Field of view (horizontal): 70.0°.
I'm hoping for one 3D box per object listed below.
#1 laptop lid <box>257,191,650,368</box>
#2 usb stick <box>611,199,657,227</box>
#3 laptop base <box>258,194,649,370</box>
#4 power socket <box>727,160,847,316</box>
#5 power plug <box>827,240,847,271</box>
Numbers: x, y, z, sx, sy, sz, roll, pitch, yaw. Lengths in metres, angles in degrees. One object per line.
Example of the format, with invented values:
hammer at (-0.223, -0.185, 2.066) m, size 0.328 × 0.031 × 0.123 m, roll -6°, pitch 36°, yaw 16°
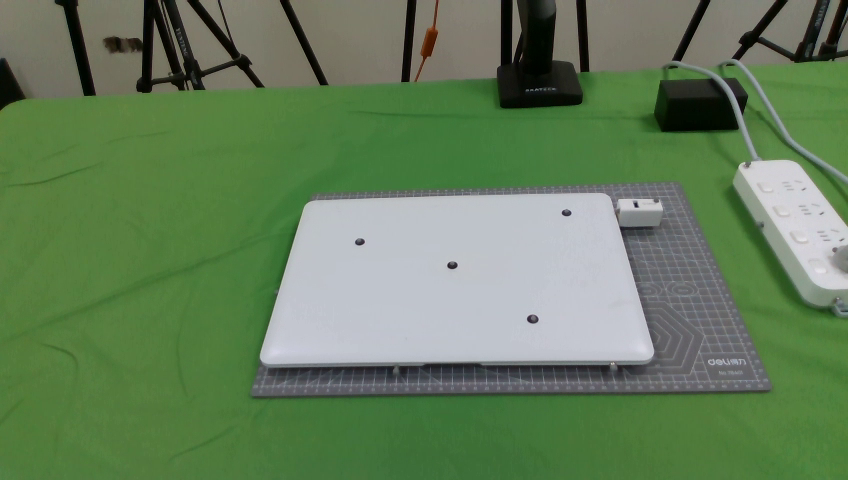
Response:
laptop lid at (0.026, 0.029, 0.615) m, size 0.356 × 0.013 × 0.239 m, roll -1°, pitch 43°, yaw 5°
usb stick at (0.222, -0.029, 0.663) m, size 0.059 × 0.027 × 0.021 m, roll -3°, pitch 40°, yaw 7°
laptop base at (0.027, 0.037, 0.624) m, size 0.354 × 0.023 × 0.233 m, roll -2°, pitch 45°, yaw 4°
power socket at (0.391, -0.015, 0.638) m, size 0.072 × 0.033 × 0.224 m, roll -1°, pitch 41°, yaw 2°
power plug at (0.420, 0.018, 0.568) m, size 0.072 × 0.053 × 0.035 m, roll 7°, pitch 43°, yaw 9°
